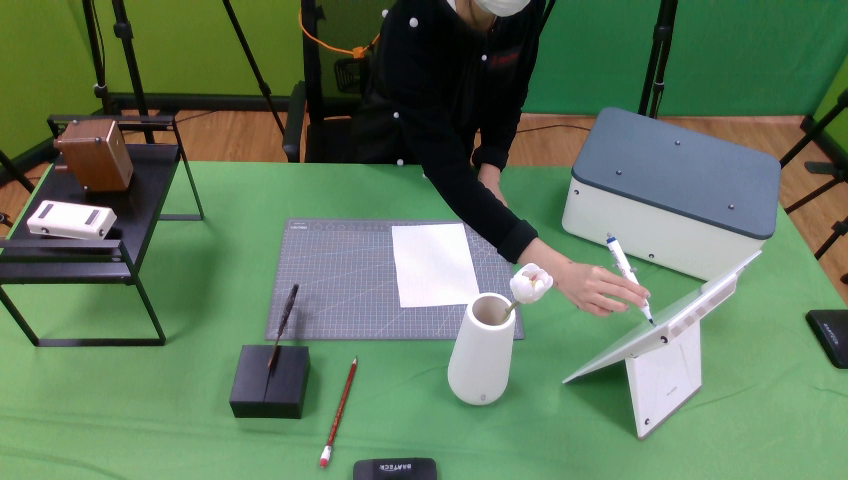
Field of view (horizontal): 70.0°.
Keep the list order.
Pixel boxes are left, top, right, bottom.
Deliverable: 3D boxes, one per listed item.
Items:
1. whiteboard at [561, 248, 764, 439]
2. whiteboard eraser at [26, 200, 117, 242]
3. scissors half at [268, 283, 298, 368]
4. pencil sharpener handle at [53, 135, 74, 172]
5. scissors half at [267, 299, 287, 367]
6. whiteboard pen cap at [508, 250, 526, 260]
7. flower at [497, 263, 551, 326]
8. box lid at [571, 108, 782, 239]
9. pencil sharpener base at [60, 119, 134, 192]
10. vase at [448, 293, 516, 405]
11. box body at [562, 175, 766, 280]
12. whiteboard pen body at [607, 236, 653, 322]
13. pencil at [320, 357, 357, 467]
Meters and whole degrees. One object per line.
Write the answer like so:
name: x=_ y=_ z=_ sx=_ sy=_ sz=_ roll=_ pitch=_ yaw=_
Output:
whiteboard: x=0.386 y=0.176 z=0.905 sx=0.217 sy=0.306 sz=0.143 roll=-26 pitch=72 yaw=-27
whiteboard eraser: x=-0.532 y=-0.026 z=0.919 sx=0.113 sy=0.042 sz=0.055 roll=7 pitch=45 yaw=3
scissors half: x=-0.230 y=0.135 z=0.986 sx=0.013 sy=0.040 sz=0.174 roll=19 pitch=43 yaw=-11
pencil sharpener handle: x=-0.577 y=-0.138 z=0.961 sx=0.031 sy=0.068 sz=0.036 roll=-4 pitch=34 yaw=-7
scissors half: x=-0.238 y=0.150 z=0.997 sx=0.013 sy=0.040 sz=0.174 roll=24 pitch=24 yaw=-13
whiteboard pen cap: x=0.181 y=0.029 z=1.185 sx=0.033 sy=0.018 sz=0.018 roll=-5 pitch=47 yaw=-14
flower: x=0.103 y=0.121 z=0.853 sx=0.044 sy=0.363 sz=0.038 roll=-1 pitch=64 yaw=-9
box lid: x=0.491 y=-0.139 z=1.168 sx=0.370 sy=0.015 sz=0.262 roll=21 pitch=49 yaw=15
pencil sharpener base: x=-0.528 y=-0.135 z=0.979 sx=0.077 sy=0.107 sz=0.061 roll=-4 pitch=47 yaw=-7
vase: x=0.091 y=0.169 z=0.921 sx=0.098 sy=0.201 sz=0.097 roll=3 pitch=47 yaw=-3
box body: x=0.486 y=-0.088 z=1.222 sx=0.363 sy=0.161 sz=0.253 roll=20 pitch=48 yaw=15
whiteboard pen body: x=0.306 y=0.059 z=0.895 sx=0.017 sy=0.017 sz=0.140 roll=-26 pitch=90 yaw=-26
pencil: x=-0.130 y=0.261 z=0.947 sx=0.012 sy=0.012 sz=0.193 roll=10 pitch=45 yaw=5
